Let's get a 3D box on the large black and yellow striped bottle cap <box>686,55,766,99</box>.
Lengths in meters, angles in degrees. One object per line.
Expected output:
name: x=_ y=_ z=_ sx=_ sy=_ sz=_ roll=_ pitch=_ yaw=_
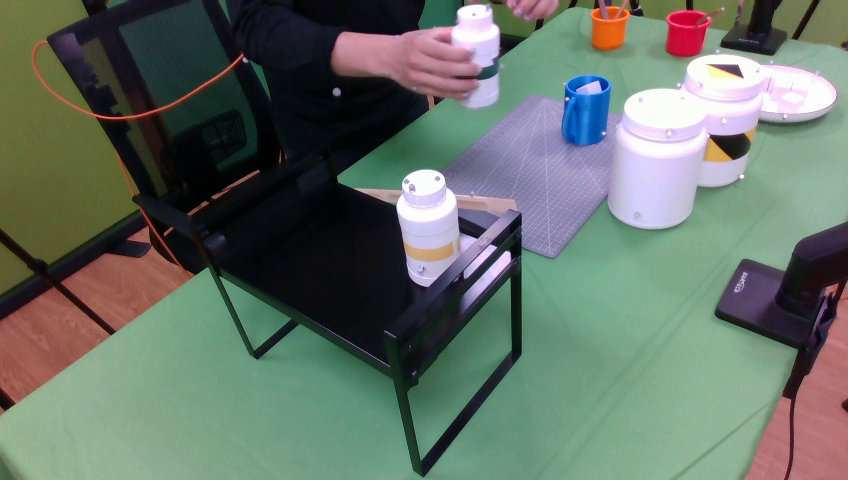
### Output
large black and yellow striped bottle cap: x=0.474 y=-0.258 z=0.952 sx=0.115 sy=0.019 sz=0.114 roll=-5 pitch=41 yaw=5

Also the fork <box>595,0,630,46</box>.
fork: x=0.479 y=-0.556 z=1.452 sx=0.028 sy=0.019 sz=0.207 roll=41 pitch=103 yaw=40

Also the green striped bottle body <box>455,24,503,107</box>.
green striped bottle body: x=0.074 y=-0.246 z=0.814 sx=0.063 sy=0.120 sz=0.063 roll=-3 pitch=42 yaw=3

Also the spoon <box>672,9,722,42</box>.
spoon: x=0.606 y=-0.476 z=1.345 sx=0.042 sy=0.021 sz=0.193 roll=-6 pitch=-3 yaw=-2

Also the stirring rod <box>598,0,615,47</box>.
stirring rod: x=0.437 y=-0.551 z=1.462 sx=0.014 sy=0.006 sz=0.175 roll=-11 pitch=83 yaw=1

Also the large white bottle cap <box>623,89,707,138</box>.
large white bottle cap: x=0.352 y=-0.187 z=0.886 sx=0.115 sy=0.018 sz=0.114 roll=-4 pitch=41 yaw=4

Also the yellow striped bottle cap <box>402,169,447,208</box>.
yellow striped bottle cap: x=0.000 y=-0.052 z=0.605 sx=0.044 sy=0.019 sz=0.044 roll=-5 pitch=42 yaw=5

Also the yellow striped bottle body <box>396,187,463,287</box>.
yellow striped bottle body: x=0.006 y=-0.013 z=0.638 sx=0.063 sy=0.121 sz=0.062 roll=-5 pitch=41 yaw=5

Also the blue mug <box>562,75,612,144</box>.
blue mug: x=0.298 y=-0.239 z=1.143 sx=0.081 sy=0.106 sz=0.117 roll=30 pitch=54 yaw=36

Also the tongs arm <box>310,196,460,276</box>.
tongs arm: x=-0.078 y=-0.012 z=0.944 sx=0.028 sy=0.028 sz=0.384 roll=-43 pitch=39 yaw=-23

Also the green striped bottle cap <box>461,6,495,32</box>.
green striped bottle cap: x=0.069 y=-0.285 z=0.779 sx=0.044 sy=0.020 sz=0.044 roll=-2 pitch=40 yaw=2

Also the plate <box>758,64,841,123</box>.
plate: x=0.695 y=-0.283 z=1.189 sx=0.207 sy=0.039 sz=0.206 roll=-4 pitch=40 yaw=4

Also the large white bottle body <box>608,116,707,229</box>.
large white bottle body: x=0.361 y=-0.124 z=0.942 sx=0.130 sy=0.185 sz=0.130 roll=-5 pitch=41 yaw=4

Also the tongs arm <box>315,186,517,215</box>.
tongs arm: x=-0.028 y=-0.060 z=0.988 sx=0.382 sy=0.027 sz=0.051 roll=9 pitch=45 yaw=36

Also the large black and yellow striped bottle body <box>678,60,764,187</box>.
large black and yellow striped bottle body: x=0.482 y=-0.196 z=1.008 sx=0.131 sy=0.185 sz=0.130 roll=-4 pitch=41 yaw=4
